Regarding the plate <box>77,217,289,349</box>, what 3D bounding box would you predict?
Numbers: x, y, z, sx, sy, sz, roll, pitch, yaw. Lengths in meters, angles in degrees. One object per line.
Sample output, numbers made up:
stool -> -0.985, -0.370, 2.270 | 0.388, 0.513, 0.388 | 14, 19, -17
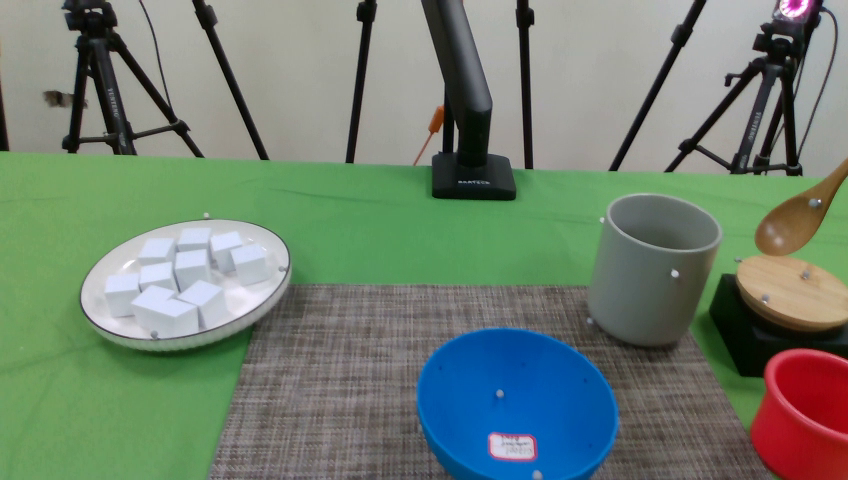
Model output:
plate -> -0.248, 0.045, 0.641 | 0.209, 0.038, 0.207 | 1, 34, 0

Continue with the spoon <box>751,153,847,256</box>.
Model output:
spoon -> 0.297, -0.056, 0.416 | 0.022, 0.195, 0.041 | 5, 49, -16

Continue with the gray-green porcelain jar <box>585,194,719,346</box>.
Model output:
gray-green porcelain jar -> 0.222, 0.034, 0.608 | 0.106, 0.127, 0.105 | 2, 35, -1

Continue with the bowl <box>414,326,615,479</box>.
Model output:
bowl -> 0.065, 0.147, 0.475 | 0.151, 0.077, 0.150 | 2, 34, -1

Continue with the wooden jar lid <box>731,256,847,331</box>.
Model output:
wooden jar lid -> 0.362, 0.053, 0.602 | 0.108, 0.021, 0.107 | 1, 34, 0
